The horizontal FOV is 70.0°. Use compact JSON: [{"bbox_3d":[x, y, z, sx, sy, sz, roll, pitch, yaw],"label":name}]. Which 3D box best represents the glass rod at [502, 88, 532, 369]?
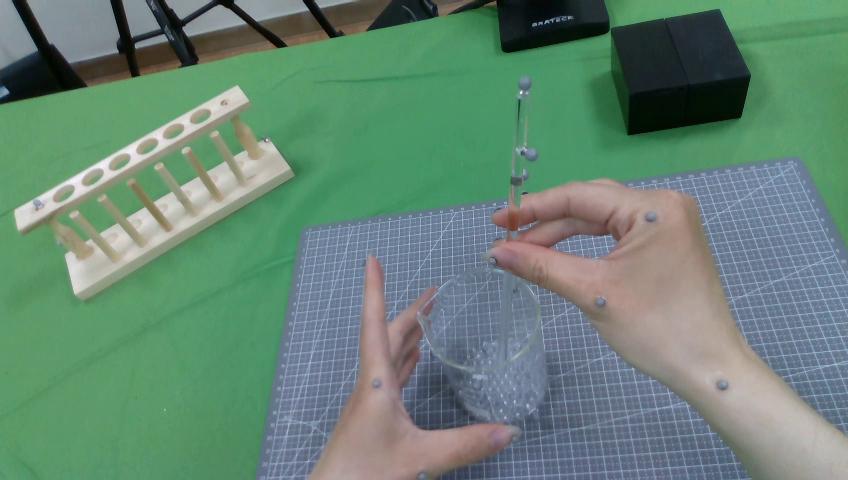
[{"bbox_3d":[0.051,0.009,0.338,0.008,0.201,0.008,-2,40,2],"label":"glass rod"}]

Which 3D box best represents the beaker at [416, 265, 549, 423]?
[{"bbox_3d":[0.044,0.075,0.413,0.083,0.101,0.073,5,55,20],"label":"beaker"}]

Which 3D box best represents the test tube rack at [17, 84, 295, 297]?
[{"bbox_3d":[-0.262,-0.051,0.609,0.242,0.086,0.066,-32,52,-10],"label":"test tube rack"}]
